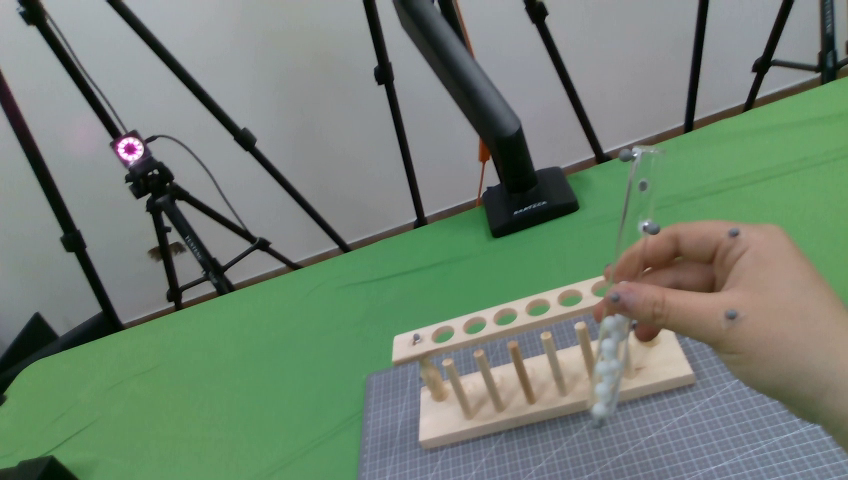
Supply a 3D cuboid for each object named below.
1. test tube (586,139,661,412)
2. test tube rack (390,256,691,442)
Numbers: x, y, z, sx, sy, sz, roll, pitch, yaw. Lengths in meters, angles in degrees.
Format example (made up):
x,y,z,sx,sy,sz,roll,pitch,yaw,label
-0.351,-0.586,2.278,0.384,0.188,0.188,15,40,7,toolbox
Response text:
x,y,z,sx,sy,sz,roll,pitch,yaw,label
0.103,0.023,0.317,0.017,0.151,0.017,4,17,-1,test tube
0.097,0.100,0.537,0.242,0.086,0.066,-18,32,12,test tube rack
